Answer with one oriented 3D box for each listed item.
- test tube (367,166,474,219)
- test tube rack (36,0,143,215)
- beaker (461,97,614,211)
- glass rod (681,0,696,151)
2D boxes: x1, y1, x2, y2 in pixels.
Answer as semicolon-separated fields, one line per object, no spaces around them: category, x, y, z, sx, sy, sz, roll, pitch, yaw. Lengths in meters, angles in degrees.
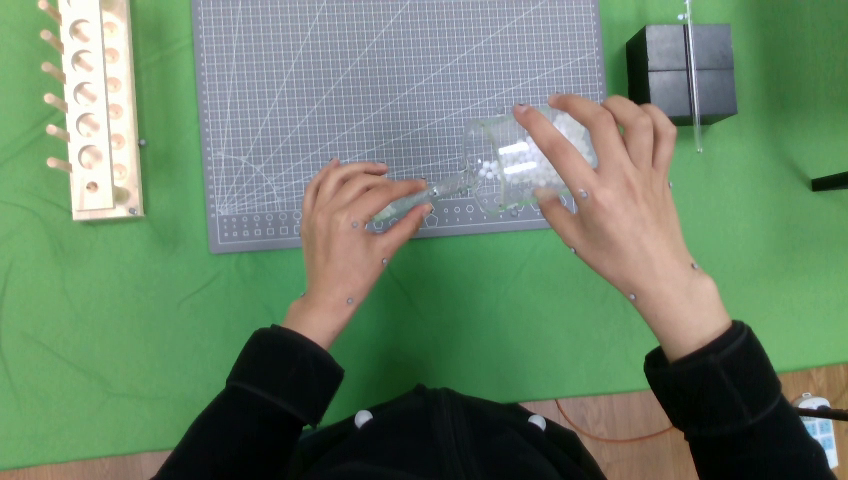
test tube;-0.009;-0.040;0.553;0.017;0.149;0.017;9;75;-36
test tube rack;-0.331;-0.149;0.590;0.067;0.085;0.242;-4;89;-6
beaker;0.087;-0.068;0.471;0.100;0.084;0.074;-13;86;-15
glass rod;0.287;-0.196;0.658;0.008;0.008;0.199;-2;89;-7
